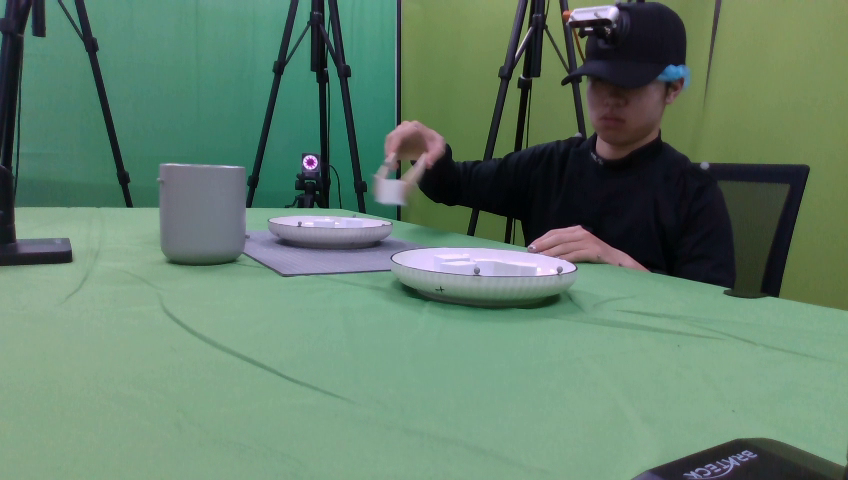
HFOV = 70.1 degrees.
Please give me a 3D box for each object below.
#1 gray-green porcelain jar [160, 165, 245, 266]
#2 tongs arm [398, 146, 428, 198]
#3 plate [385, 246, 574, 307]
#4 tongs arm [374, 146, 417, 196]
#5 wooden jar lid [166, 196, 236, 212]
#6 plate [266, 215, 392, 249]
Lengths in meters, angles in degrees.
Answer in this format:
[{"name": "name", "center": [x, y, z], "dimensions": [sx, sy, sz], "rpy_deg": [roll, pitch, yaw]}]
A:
[{"name": "gray-green porcelain jar", "center": [-0.291, -0.034, 0.799], "dimensions": [0.106, 0.126, 0.106], "rpy_deg": [2, 8, 0]}, {"name": "tongs arm", "center": [-0.018, -0.115, 0.964], "dimensions": [0.028, 0.028, 0.387], "rpy_deg": [0, 15, 5]}, {"name": "plate", "center": [0.060, 0.041, 0.678], "dimensions": [0.208, 0.039, 0.207], "rpy_deg": [3, 7, 0]}, {"name": "tongs arm", "center": [-0.039, -0.117, 0.965], "dimensions": [0.051, 0.026, 0.384], "rpy_deg": [2, 15, -1]}, {"name": "wooden jar lid", "center": [-0.369, -0.060, 1.001], "dimensions": [0.108, 0.020, 0.108], "rpy_deg": [3, 6, 0]}, {"name": "plate", "center": [-0.159, -0.015, 1.019], "dimensions": [0.209, 0.038, 0.209], "rpy_deg": [3, 7, 0]}]
